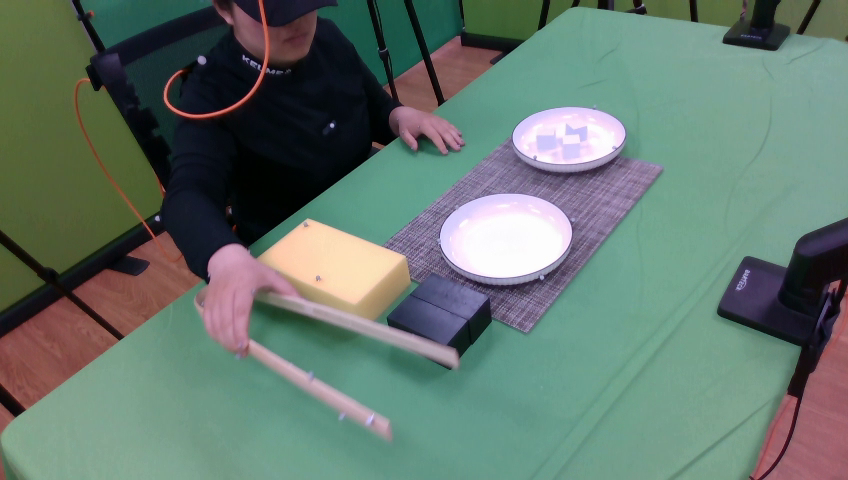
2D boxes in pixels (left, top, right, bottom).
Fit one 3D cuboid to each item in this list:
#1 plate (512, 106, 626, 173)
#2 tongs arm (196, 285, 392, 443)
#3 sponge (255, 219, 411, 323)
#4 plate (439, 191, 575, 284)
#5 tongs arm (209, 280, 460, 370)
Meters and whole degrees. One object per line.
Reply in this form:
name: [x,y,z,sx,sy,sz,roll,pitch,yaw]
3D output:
plate: [0.269,-0.185,1.132,0.209,0.038,0.208,-5,40,5]
tongs arm: [-0.165,0.131,0.710,0.381,0.026,0.051,18,43,37]
sponge: [-0.139,0.048,0.922,0.205,0.061,0.118,19,47,30]
plate: [0.129,-0.001,0.942,0.207,0.039,0.206,-5,40,5]
tongs arm: [-0.126,0.099,0.750,0.385,0.028,0.028,12,44,30]
